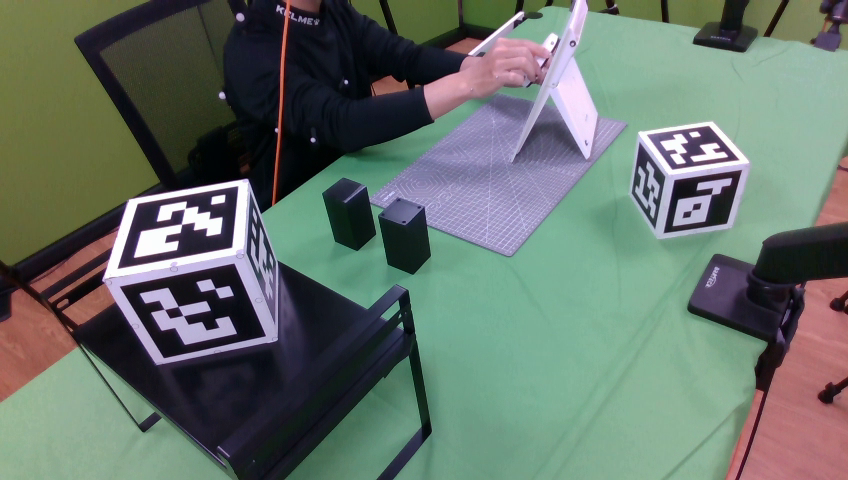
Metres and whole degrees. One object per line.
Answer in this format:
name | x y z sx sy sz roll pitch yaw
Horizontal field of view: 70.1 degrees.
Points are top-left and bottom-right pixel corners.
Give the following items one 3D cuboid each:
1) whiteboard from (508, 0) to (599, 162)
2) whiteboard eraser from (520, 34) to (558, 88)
whiteboard | 0.285 -0.289 1.090 0.144 0.305 0.217 22 45 3
whiteboard eraser | 0.203 -0.317 1.070 0.019 0.101 0.041 26 32 -13
